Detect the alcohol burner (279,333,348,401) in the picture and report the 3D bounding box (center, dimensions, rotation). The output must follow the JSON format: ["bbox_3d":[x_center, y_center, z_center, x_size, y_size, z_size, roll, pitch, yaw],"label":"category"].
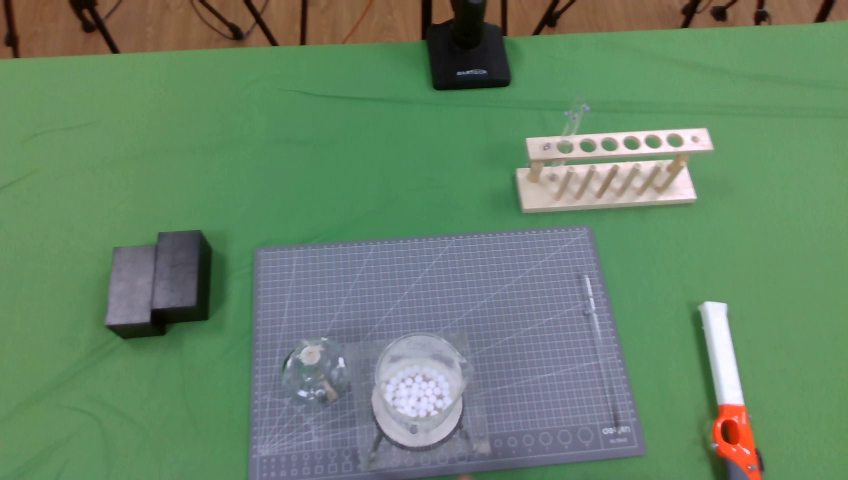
[{"bbox_3d":[-0.124,0.135,0.669,0.078,0.120,0.077,1,62,-2],"label":"alcohol burner"}]

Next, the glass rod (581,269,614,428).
[{"bbox_3d":[0.214,0.130,0.748,0.008,0.008,0.198,-3,68,-5],"label":"glass rod"}]

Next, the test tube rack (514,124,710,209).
[{"bbox_3d":[0.252,-0.099,0.818,0.243,0.086,0.066,-4,65,-5],"label":"test tube rack"}]

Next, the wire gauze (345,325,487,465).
[{"bbox_3d":[-0.010,0.147,0.585,0.125,0.011,0.120,-8,63,-4],"label":"wire gauze"}]

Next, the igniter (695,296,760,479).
[{"bbox_3d":[0.359,0.199,0.716,0.057,0.025,0.274,7,64,-11],"label":"igniter"}]

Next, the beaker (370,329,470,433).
[{"bbox_3d":[-0.004,0.129,0.541,0.084,0.101,0.073,-9,64,-7],"label":"beaker"}]

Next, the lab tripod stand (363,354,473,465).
[{"bbox_3d":[-0.012,0.178,0.644,0.148,0.132,0.147,0,64,-1],"label":"lab tripod stand"}]

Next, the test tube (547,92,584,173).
[{"bbox_3d":[0.179,-0.133,0.775,0.017,0.151,0.017,1,61,-1],"label":"test tube"}]
